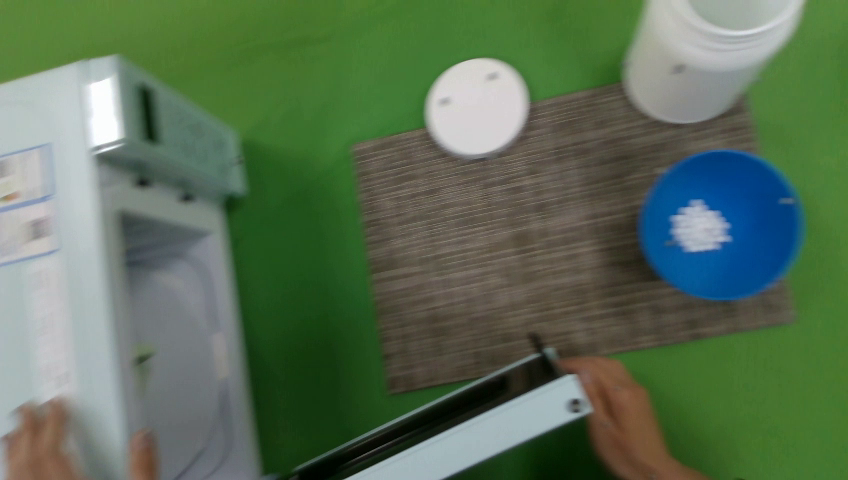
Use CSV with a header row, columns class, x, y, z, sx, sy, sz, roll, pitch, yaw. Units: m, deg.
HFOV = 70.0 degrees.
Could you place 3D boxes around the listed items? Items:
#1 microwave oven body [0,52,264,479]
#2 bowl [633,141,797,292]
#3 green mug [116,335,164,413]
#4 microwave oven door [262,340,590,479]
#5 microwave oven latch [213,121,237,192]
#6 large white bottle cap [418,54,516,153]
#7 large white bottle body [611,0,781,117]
class,x,y,z,sx,sy,sz,roll,pitch,yaw
microwave oven body,-0.364,0.098,0.619,0.326,0.261,0.440,-13,84,6
bowl,0.290,-0.020,0.633,0.151,0.077,0.151,-1,85,8
green mug,-0.336,0.141,0.635,0.125,0.105,0.092,-25,84,1
microwave oven door,-0.026,0.193,0.562,0.356,0.244,0.039,-27,81,5
microwave oven latch,-0.245,-0.099,0.717,0.030,0.029,0.079,-14,84,6
large white bottle cap,0.050,-0.159,0.707,0.114,0.018,0.114,-1,84,7
large white bottle body,0.263,-0.213,0.598,0.130,0.185,0.130,-1,81,8
